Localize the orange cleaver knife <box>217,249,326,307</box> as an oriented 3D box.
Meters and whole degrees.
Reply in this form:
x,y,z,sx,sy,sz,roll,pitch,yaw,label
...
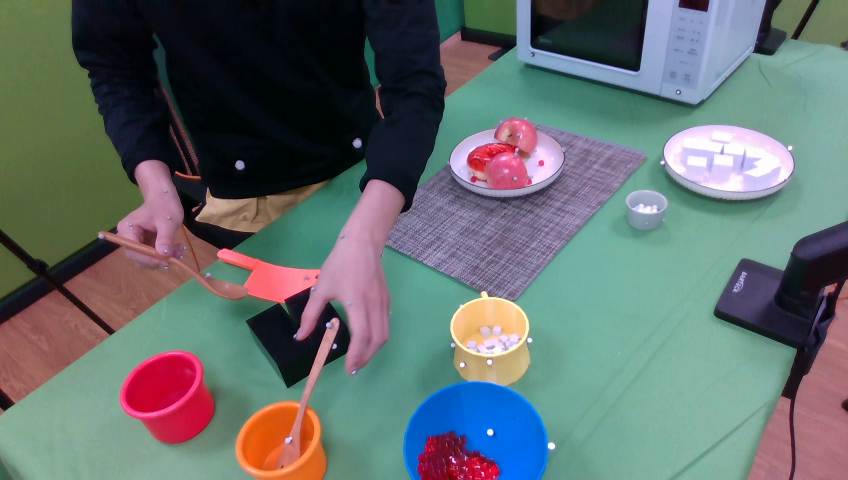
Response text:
x,y,z,sx,sy,sz,roll,pitch,yaw,label
-0.247,0.058,0.945,0.210,0.012,0.077,13,51,20,orange cleaver knife

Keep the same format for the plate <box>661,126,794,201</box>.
x,y,z,sx,sy,sz,roll,pitch,yaw,label
0.513,-0.127,1.035,0.207,0.039,0.206,-4,40,4,plate

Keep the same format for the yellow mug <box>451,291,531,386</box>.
x,y,z,sx,sy,sz,roll,pitch,yaw,label
0.085,0.120,0.786,0.100,0.064,0.130,-7,39,1,yellow mug

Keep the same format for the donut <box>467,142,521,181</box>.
x,y,z,sx,sy,sz,roll,pitch,yaw,label
0.127,-0.144,1.090,0.099,0.048,0.098,-6,36,5,donut

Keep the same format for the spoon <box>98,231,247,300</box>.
x,y,z,sx,sy,sz,roll,pitch,yaw,label
-0.315,0.032,0.771,0.021,0.195,0.041,-49,32,11,spoon

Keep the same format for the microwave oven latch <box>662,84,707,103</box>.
x,y,z,sx,sy,sz,roll,pitch,yaw,label
0.517,-0.296,1.204,0.078,0.029,0.030,27,52,35,microwave oven latch

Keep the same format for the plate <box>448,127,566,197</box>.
x,y,z,sx,sy,sz,roll,pitch,yaw,label
0.150,-0.138,1.096,0.209,0.038,0.208,-4,40,4,plate

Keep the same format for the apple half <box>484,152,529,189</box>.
x,y,z,sx,sy,sz,roll,pitch,yaw,label
0.144,-0.116,1.031,0.081,0.033,0.081,3,77,-11,apple half

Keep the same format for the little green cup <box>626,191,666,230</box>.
x,y,z,sx,sy,sz,roll,pitch,yaw,label
0.352,-0.046,0.963,0.061,0.039,0.061,-4,40,4,little green cup

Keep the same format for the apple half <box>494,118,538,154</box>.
x,y,z,sx,sy,sz,roll,pitch,yaw,label
0.176,-0.197,1.113,0.080,0.053,0.075,28,12,34,apple half

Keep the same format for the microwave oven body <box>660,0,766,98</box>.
x,y,z,sx,sy,sz,roll,pitch,yaw,label
0.473,-0.513,1.317,0.438,0.261,0.327,26,51,34,microwave oven body

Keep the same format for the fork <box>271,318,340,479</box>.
x,y,z,sx,sy,sz,roll,pitch,yaw,label
-0.132,0.186,0.677,0.028,0.019,0.207,18,90,22,fork

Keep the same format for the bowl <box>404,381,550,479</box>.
x,y,z,sx,sy,sz,roll,pitch,yaw,label
0.058,0.235,0.645,0.151,0.077,0.150,-5,39,4,bowl

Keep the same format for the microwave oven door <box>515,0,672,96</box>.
x,y,z,sx,sy,sz,roll,pitch,yaw,label
0.344,-0.455,1.259,0.353,0.245,0.039,26,51,33,microwave oven door
